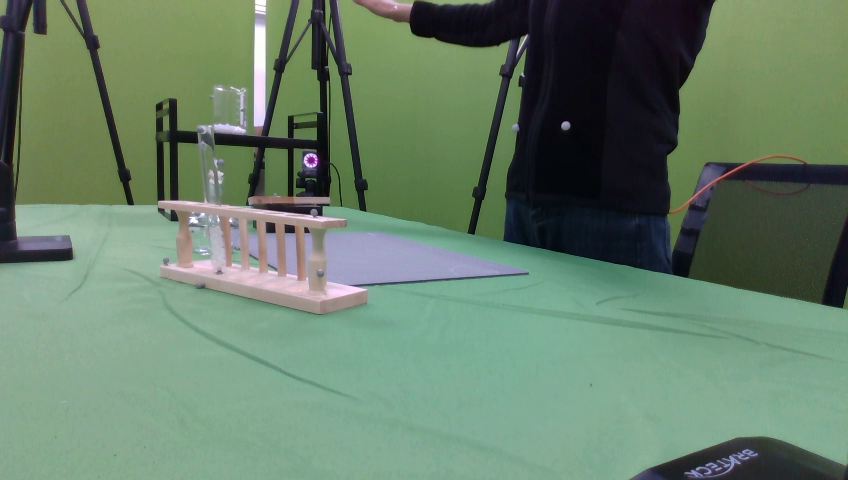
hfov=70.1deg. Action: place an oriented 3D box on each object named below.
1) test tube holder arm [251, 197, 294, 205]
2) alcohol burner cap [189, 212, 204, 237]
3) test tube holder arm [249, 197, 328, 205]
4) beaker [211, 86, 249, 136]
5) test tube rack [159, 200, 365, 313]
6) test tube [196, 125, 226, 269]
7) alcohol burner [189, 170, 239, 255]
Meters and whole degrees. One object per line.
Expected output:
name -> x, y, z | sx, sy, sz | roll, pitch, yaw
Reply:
test tube holder arm -> -0.277, -0.072, 1.108 | 0.010, 0.015, 0.088 | 6, 7, 39
alcohol burner cap -> -0.389, -0.029, 1.026 | 0.034, 0.048, 0.034 | 3, 8, 0
test tube holder arm -> -0.253, -0.075, 1.147 | 0.013, 0.015, 0.179 | 5, 6, 38
beaker -> -0.413, -0.274, 1.297 | 0.074, 0.100, 0.083 | -5, 11, -44
test tube rack -> -0.173, 0.009, 0.624 | 0.241, 0.085, 0.067 | 7, 9, 34
test tube -> -0.220, -0.043, 0.626 | 0.017, 0.150, 0.017 | -2, 10, 1
alcohol burner -> -0.298, -0.039, 0.853 | 0.078, 0.119, 0.078 | 3, 6, 0
